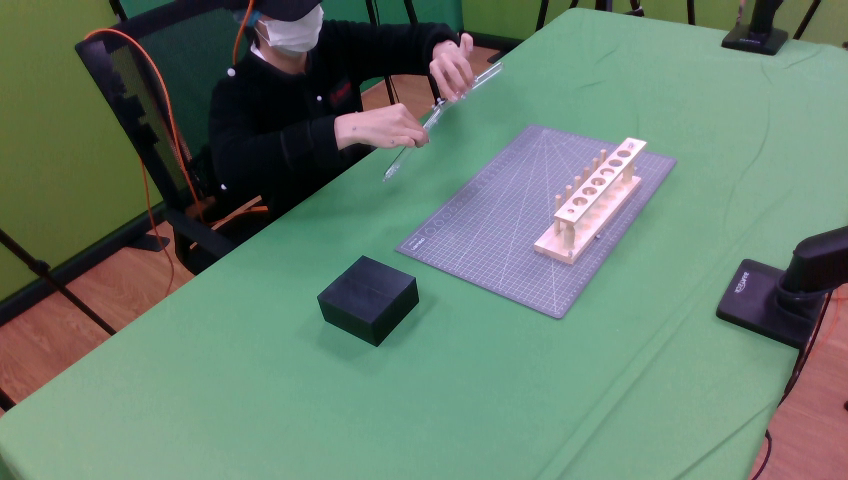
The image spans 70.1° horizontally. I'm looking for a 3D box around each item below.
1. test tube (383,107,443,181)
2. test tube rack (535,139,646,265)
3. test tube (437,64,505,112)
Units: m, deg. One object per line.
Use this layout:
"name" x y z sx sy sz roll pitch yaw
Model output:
"test tube" -0.019 -0.160 1.017 0.150 0.017 0.017 -51 47 4
"test tube rack" 0.269 -0.071 0.964 0.066 0.085 0.243 23 49 32
"test tube" 0.082 -0.261 1.033 0.151 0.017 0.017 -37 47 -18
